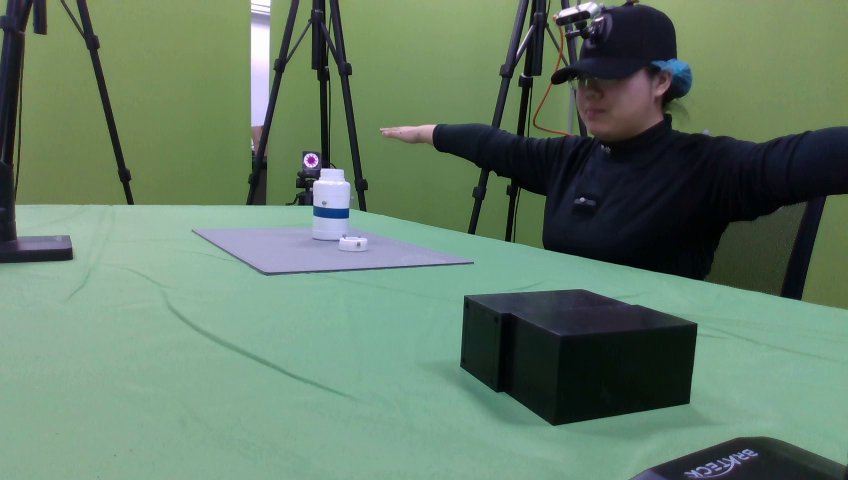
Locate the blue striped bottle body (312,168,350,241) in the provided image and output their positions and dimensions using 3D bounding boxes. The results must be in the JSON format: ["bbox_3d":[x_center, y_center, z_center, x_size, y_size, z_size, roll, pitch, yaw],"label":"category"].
[{"bbox_3d":[-0.157,-0.062,1.025,0.063,0.120,0.063,3,7,0],"label":"blue striped bottle body"}]

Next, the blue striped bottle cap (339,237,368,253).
[{"bbox_3d":[-0.107,0.007,0.920,0.044,0.020,0.044,1,7,0],"label":"blue striped bottle cap"}]
